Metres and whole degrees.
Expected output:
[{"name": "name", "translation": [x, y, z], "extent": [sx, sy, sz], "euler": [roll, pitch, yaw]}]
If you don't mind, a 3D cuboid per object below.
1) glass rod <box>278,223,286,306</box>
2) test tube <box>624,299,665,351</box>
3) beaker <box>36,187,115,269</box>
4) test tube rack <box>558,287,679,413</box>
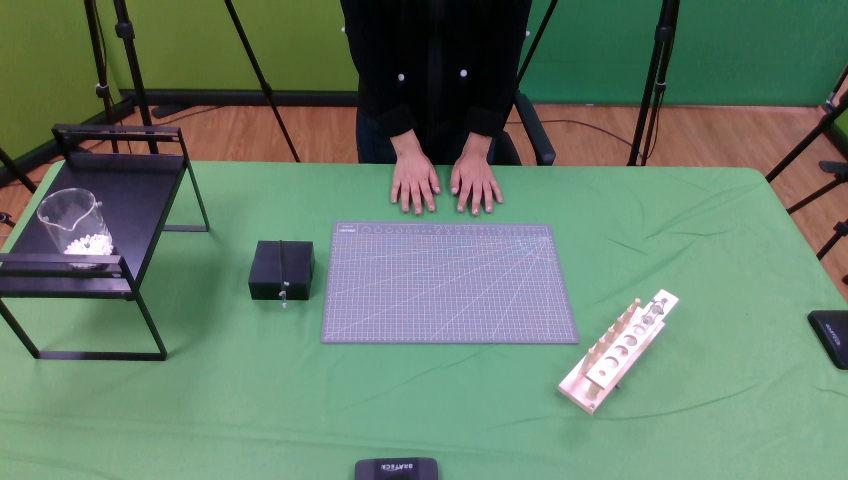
[{"name": "glass rod", "translation": [-0.255, 0.039, 1.081], "extent": [0.008, 0.008, 0.198], "euler": [-7, 47, -10]}, {"name": "test tube", "translation": [0.350, 0.140, 0.970], "extent": [0.017, 0.151, 0.017], "euler": [2, 52, -3]}, {"name": "beaker", "translation": [-0.493, -0.012, 0.867], "extent": [0.074, 0.101, 0.083], "euler": [-18, 51, -18]}, {"name": "test tube rack", "translation": [0.326, 0.170, 1.009], "extent": [0.066, 0.085, 0.242], "euler": [36, 54, 26]}]
